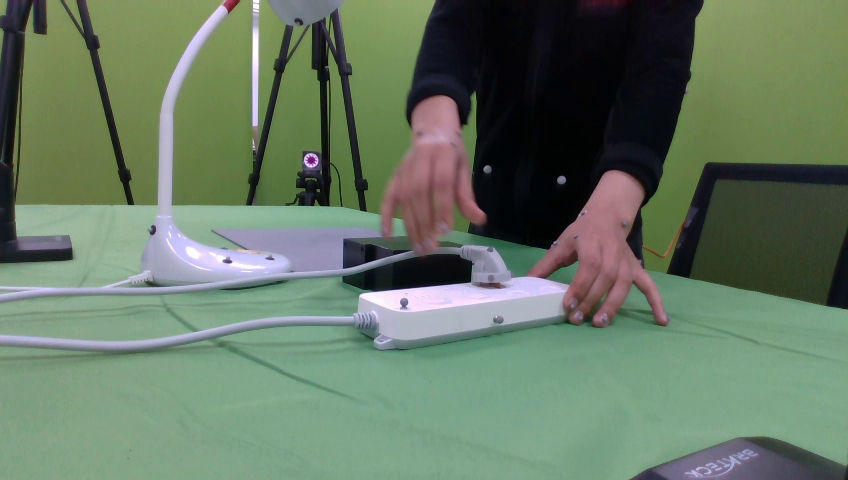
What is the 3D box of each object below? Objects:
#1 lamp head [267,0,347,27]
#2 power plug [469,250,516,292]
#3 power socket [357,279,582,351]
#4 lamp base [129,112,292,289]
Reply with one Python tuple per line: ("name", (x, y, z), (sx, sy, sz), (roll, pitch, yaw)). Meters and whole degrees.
("lamp head", (-0.157, -0.326, 0.702), (0.112, 0.112, 0.123), (6, -16, 26))
("power plug", (0.053, 0.037, 0.528), (0.035, 0.052, 0.073), (-14, 0, 37))
("power socket", (0.046, 0.059, 0.522), (0.228, 0.032, 0.072), (-3, 8, -36))
("lamp base", (-0.233, -0.045, 0.658), (0.160, 0.180, 0.180), (7, 11, 29))
